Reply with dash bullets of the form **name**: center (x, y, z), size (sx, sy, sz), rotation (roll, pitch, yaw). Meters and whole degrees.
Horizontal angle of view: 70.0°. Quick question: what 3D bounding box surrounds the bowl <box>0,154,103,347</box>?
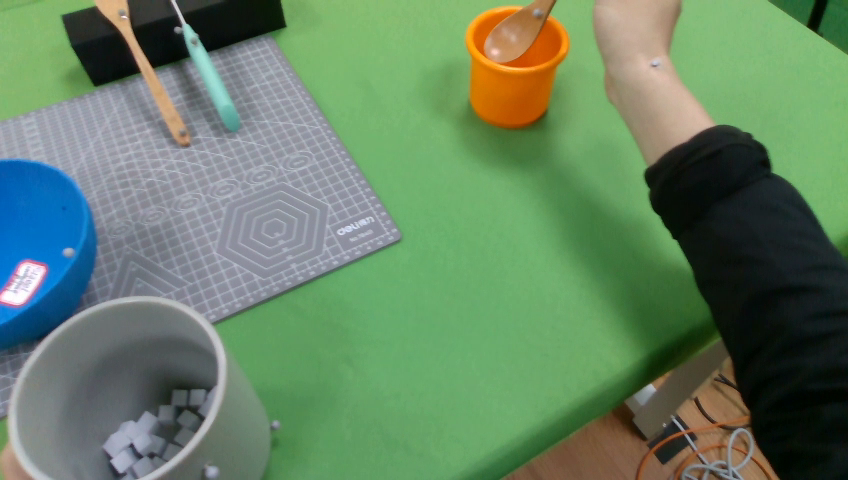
- **bowl**: center (-0.297, 0.020, 0.434), size (0.151, 0.077, 0.150), rotation (0, 56, 0)

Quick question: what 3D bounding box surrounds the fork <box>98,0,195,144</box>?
- **fork**: center (-0.263, -0.177, 0.565), size (0.028, 0.019, 0.206), rotation (-26, 79, -23)

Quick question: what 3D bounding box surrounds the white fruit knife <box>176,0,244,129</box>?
- **white fruit knife**: center (-0.219, -0.195, 0.580), size (0.016, 0.027, 0.206), rotation (-25, 73, -17)

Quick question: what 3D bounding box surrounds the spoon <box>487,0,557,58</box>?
- **spoon**: center (0.125, -0.217, 0.486), size (0.022, 0.194, 0.041), rotation (1, 59, -47)
